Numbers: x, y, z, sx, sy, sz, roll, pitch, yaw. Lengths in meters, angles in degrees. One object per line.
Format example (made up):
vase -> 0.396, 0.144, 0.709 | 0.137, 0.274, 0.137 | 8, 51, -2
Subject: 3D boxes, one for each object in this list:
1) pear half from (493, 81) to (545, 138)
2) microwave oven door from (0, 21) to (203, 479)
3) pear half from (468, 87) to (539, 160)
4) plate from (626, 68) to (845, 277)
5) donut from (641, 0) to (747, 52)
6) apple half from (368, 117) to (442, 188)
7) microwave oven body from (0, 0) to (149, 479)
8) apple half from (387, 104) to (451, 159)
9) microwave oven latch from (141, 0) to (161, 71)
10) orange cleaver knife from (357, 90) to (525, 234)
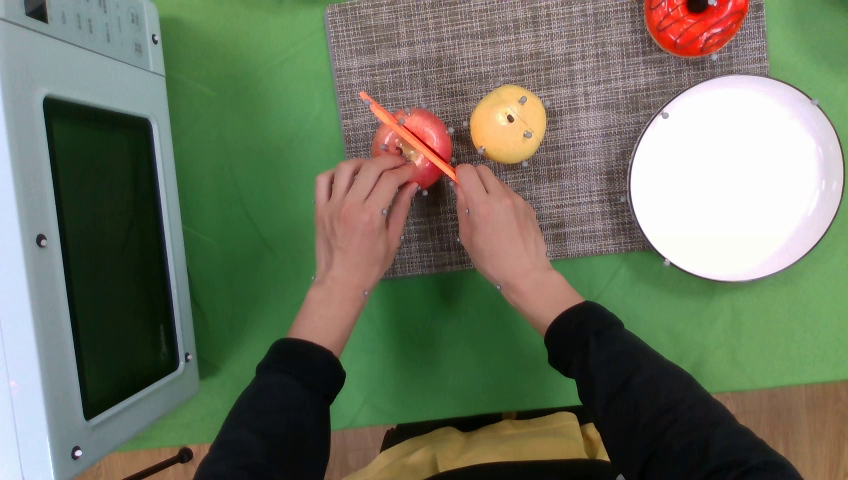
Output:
pear half -> 0.100, -0.136, 0.605 | 0.070, 0.088, 0.031 | 43, 98, 6
microwave oven door -> -0.297, 0.006, 0.566 | 0.039, 0.243, 0.356 | -4, 95, 6
pear half -> 0.074, -0.111, 0.600 | 0.076, 0.110, 0.056 | 43, 97, 5
plate -> 0.310, -0.067, 0.618 | 0.209, 0.038, 0.209 | 0, 96, 5
donut -> 0.266, -0.237, 0.601 | 0.099, 0.048, 0.099 | 1, 97, 8
apple half -> -0.026, -0.084, 0.629 | 0.081, 0.074, 0.053 | 43, 99, -5
microwave oven body -> -0.444, -0.026, 0.582 | 0.326, 0.260, 0.442 | -4, 96, 5
apple half -> 0.002, -0.118, 0.624 | 0.081, 0.081, 0.033 | 38, 95, 1
microwave oven latch -> -0.302, -0.221, 0.645 | 0.030, 0.029, 0.079 | -3, 96, 5
orange cleaver knife -> 0.019, -0.076, 0.602 | 0.213, 0.076, 0.012 | 37, 98, -22
